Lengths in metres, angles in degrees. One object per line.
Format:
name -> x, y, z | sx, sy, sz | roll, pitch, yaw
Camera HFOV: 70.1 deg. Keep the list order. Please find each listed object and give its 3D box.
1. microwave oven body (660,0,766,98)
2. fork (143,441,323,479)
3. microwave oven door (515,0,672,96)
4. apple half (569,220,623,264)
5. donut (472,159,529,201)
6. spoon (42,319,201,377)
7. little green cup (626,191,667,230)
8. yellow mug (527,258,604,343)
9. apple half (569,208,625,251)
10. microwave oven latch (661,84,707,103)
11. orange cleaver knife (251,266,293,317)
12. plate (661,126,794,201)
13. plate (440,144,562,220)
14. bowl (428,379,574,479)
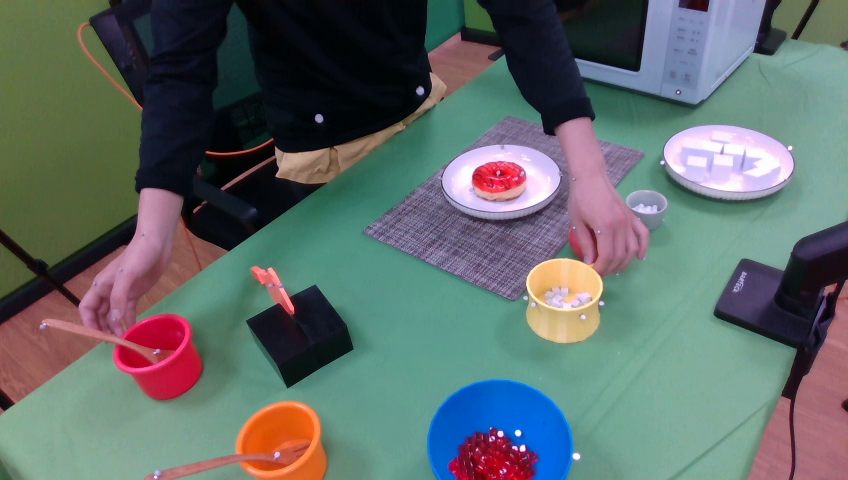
microwave oven body -> 0.472, -0.513, 1.317 | 0.438, 0.261, 0.327 | 26, 51, 34
fork -> -0.189, 0.231, 0.631 | 0.028, 0.018, 0.209 | 35, 13, 37
microwave oven door -> 0.343, -0.455, 1.259 | 0.353, 0.245, 0.039 | 26, 51, 33
apple half -> 0.249, 0.010, 0.885 | 0.081, 0.081, 0.033 | 7, 38, 17
donut -> 0.132, -0.105, 1.043 | 0.099, 0.048, 0.098 | -5, 38, 4
spoon -> -0.385, 0.135, 0.779 | 0.195, 0.021, 0.041 | 29, 37, -26
little green cup -> 0.352, -0.046, 0.963 | 0.061, 0.039, 0.061 | -4, 40, 4
yellow mug -> 0.202, 0.073, 0.825 | 0.131, 0.064, 0.099 | -32, 46, -27
apple half -> 0.262, -0.014, 0.913 | 0.080, 0.075, 0.053 | 5, 37, 20
microwave oven latch -> 0.516, -0.296, 1.204 | 0.078, 0.029, 0.030 | 25, 50, 33
orange cleaver knife -> -0.221, 0.071, 0.873 | 0.012, 0.077, 0.210 | -25, 11, -21
plate -> 0.513, -0.128, 1.035 | 0.207, 0.039, 0.206 | -4, 40, 4
plate -> 0.134, -0.098, 1.051 | 0.209, 0.038, 0.208 | -4, 40, 4
bowl -> 0.082, 0.233, 0.644 | 0.151, 0.077, 0.150 | -4, 40, 4
